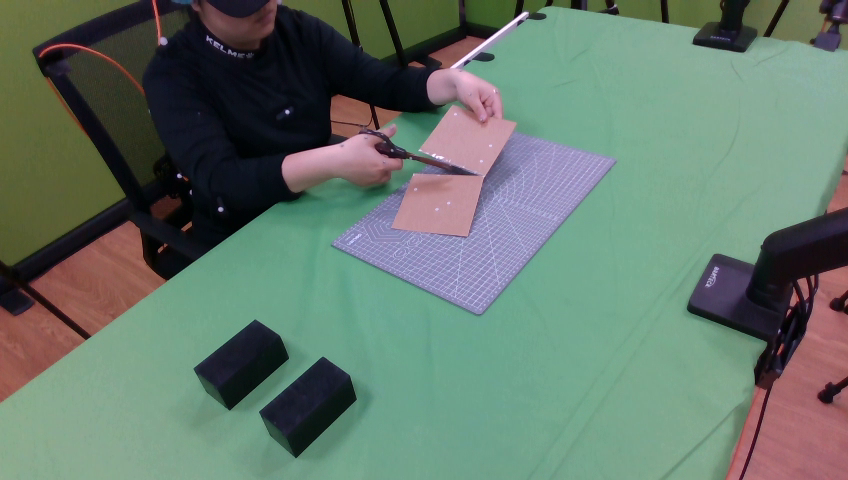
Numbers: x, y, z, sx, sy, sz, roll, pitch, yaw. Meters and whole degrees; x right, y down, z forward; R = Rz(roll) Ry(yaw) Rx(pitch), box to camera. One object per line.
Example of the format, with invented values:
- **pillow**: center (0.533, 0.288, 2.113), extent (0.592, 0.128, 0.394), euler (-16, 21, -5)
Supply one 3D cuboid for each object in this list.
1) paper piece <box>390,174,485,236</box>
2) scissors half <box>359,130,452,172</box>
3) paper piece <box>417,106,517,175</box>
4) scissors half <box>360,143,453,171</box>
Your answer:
- **paper piece**: center (0.025, -0.063, 1.028), extent (0.135, 0.004, 0.135), euler (5, 53, 20)
- **scissors half**: center (-0.031, -0.153, 1.055), extent (0.175, 0.040, 0.013), euler (23, 66, -4)
- **paper piece**: center (0.080, -0.184, 1.097), extent (0.135, 0.009, 0.138), euler (25, 59, 16)
- **scissors half**: center (-0.032, -0.143, 1.073), extent (0.174, 0.040, 0.013), euler (14, 60, 15)
